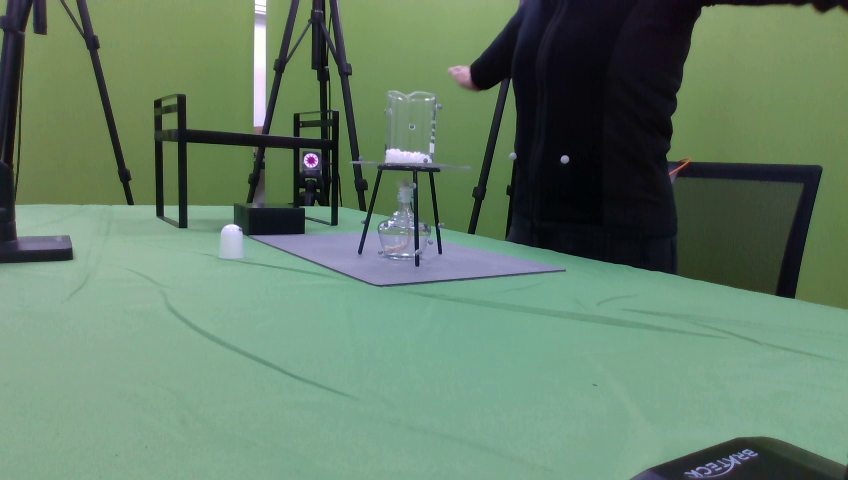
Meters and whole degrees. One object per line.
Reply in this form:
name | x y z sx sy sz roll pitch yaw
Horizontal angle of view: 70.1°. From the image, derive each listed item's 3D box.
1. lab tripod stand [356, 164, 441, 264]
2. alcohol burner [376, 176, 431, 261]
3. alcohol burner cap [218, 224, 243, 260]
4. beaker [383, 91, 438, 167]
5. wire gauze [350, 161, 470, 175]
lab tripod stand | -0.024 -0.041 0.859 0.148 0.131 0.148 2 5 0
alcohol burner | -0.029 -0.031 0.859 0.078 0.119 0.078 2 9 0
alcohol burner cap | -0.263 0.002 0.824 0.034 0.048 0.034 5 8 0
beaker | -0.020 -0.152 0.838 0.074 0.100 0.084 4 7 7
wire gauze | -0.020 -0.105 0.847 0.121 0.011 0.126 11 8 42
